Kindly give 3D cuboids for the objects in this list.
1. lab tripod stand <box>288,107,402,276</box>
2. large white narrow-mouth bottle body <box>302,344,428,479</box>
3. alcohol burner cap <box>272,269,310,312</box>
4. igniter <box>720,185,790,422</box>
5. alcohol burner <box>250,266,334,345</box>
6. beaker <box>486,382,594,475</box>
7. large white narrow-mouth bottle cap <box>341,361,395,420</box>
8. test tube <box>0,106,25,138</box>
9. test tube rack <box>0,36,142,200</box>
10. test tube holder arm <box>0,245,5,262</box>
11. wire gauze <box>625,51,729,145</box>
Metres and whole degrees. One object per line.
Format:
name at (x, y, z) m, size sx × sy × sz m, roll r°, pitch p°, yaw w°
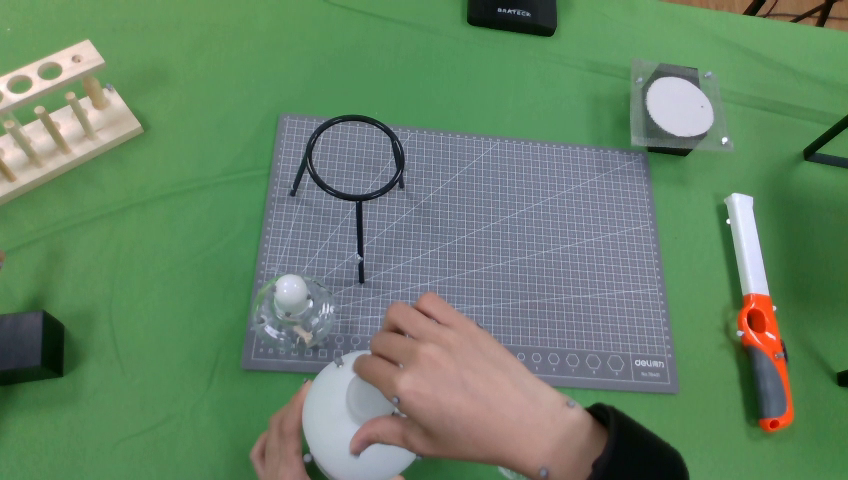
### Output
lab tripod stand at (-0.071, -0.054, 0.604) m, size 0.149 × 0.132 × 0.147 m, roll 4°, pitch 67°, yaw -9°
large white narrow-mouth bottle body at (-0.048, 0.140, 0.495) m, size 0.102 × 0.195 × 0.101 m, roll 3°, pitch 66°, yaw -6°
alcohol burner cap at (-0.117, 0.042, 0.527) m, size 0.034 × 0.048 × 0.033 m, roll 2°, pitch 72°, yaw -7°
igniter at (0.371, 0.064, 0.684) m, size 0.057 × 0.025 × 0.274 m, roll 10°, pitch 66°, yaw -16°
alcohol burner at (-0.122, 0.055, 0.560) m, size 0.078 × 0.119 × 0.077 m, roll 4°, pitch 65°, yaw -9°
beaker at (0.098, 0.175, 0.555) m, size 0.084 × 0.101 × 0.073 m, roll 31°, pitch 65°, yaw 6°
large white narrow-mouth bottle cap at (-0.038, 0.101, 0.410) m, size 0.038 × 0.024 × 0.037 m, roll 3°, pitch 66°, yaw -7°
test tube at (-0.409, -0.144, 0.564) m, size 0.017 × 0.151 × 0.017 m, roll 4°, pitch 61°, yaw -7°
test tube rack at (-0.420, -0.100, 0.598) m, size 0.242 × 0.085 × 0.066 m, roll -35°, pitch 76°, yaw -20°
test tube holder arm at (-0.387, 0.044, 0.527) m, size 0.010 × 0.015 × 0.087 m, roll 8°, pitch 65°, yaw -5°
wire gauze at (0.301, -0.170, 0.729) m, size 0.122 × 0.011 × 0.124 m, roll 6°, pitch 67°, yaw -6°
